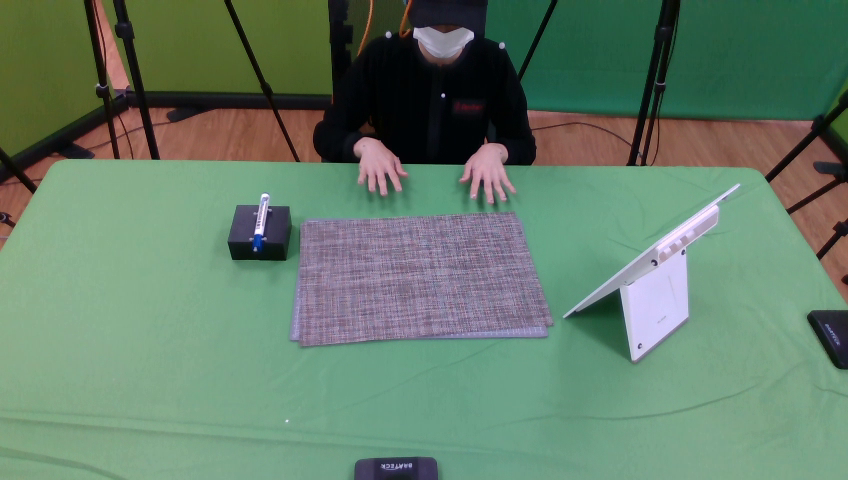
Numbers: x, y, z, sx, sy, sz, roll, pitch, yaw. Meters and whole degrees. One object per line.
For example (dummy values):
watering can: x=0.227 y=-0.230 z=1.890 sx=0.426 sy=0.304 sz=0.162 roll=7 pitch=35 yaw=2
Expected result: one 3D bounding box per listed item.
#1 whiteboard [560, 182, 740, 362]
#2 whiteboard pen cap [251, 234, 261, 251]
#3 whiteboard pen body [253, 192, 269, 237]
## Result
whiteboard: x=0.406 y=0.075 z=1.001 sx=0.217 sy=0.306 sz=0.143 roll=-28 pitch=73 yaw=-28
whiteboard pen cap: x=-0.305 y=0.003 z=1.103 sx=0.018 sy=0.018 sz=0.033 roll=-2 pitch=47 yaw=-6
whiteboard pen body: x=-0.309 y=-0.040 z=1.146 sx=0.017 sy=0.017 sz=0.140 roll=0 pitch=46 yaw=-5
